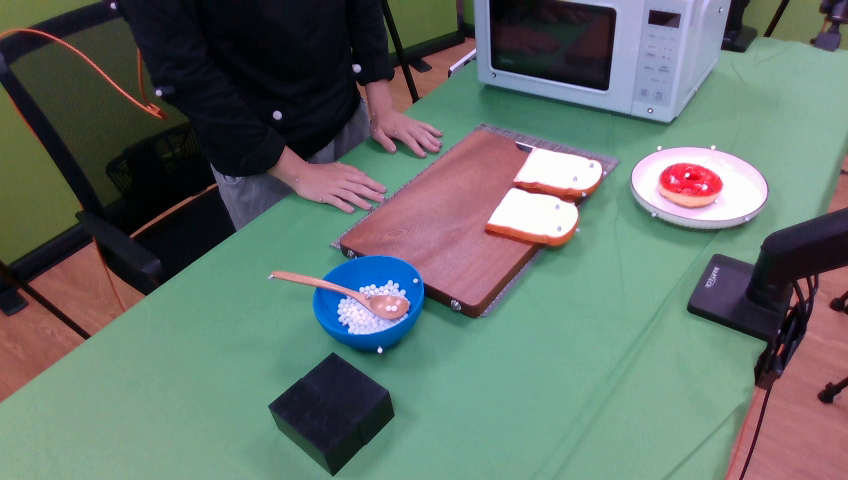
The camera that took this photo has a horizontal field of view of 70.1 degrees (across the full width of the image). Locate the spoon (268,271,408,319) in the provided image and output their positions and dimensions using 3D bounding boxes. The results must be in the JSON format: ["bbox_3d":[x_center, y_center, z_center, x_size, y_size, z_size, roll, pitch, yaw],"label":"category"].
[{"bbox_3d":[-0.116,0.069,0.813,0.194,0.021,0.041,18,39,1],"label":"spoon"}]

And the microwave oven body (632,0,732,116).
[{"bbox_3d":[0.377,-0.462,1.267,0.438,0.261,0.327,21,48,30],"label":"microwave oven body"}]

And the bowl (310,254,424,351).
[{"bbox_3d":[-0.071,0.098,0.821,0.151,0.077,0.150,-4,40,4],"label":"bowl"}]

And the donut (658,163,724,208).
[{"bbox_3d":[0.432,-0.090,0.982,0.099,0.048,0.098,-3,38,3],"label":"donut"}]

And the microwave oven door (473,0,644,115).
[{"bbox_3d":[0.257,-0.396,1.199,0.353,0.245,0.039,21,48,29],"label":"microwave oven door"}]

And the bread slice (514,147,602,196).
[{"bbox_3d":[0.233,-0.115,1.027,0.133,0.018,0.107,13,45,20],"label":"bread slice"}]

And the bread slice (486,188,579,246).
[{"bbox_3d":[0.176,-0.037,0.946,0.131,0.019,0.105,16,47,24],"label":"bread slice"}]

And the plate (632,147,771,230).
[{"bbox_3d":[0.447,-0.081,0.988,0.207,0.039,0.206,-4,40,4],"label":"plate"}]

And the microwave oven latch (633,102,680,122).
[{"bbox_3d":[0.444,-0.249,1.157,0.078,0.029,0.030,21,49,30],"label":"microwave oven latch"}]
